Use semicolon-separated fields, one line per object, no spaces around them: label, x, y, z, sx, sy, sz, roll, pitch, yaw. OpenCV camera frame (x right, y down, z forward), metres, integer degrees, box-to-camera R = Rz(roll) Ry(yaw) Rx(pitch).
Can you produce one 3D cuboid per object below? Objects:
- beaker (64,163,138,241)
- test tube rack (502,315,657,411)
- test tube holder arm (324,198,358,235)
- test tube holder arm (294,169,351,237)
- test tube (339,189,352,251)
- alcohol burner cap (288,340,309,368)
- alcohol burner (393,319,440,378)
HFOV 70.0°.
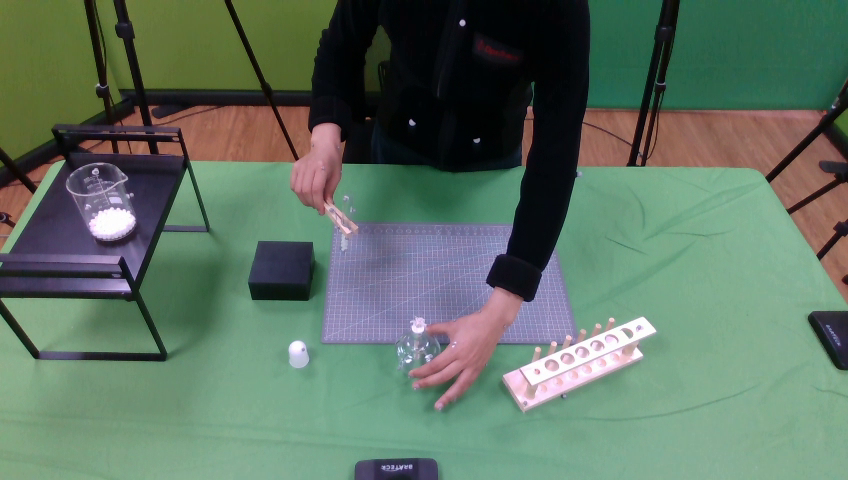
beaker;-0.477;-0.055;0.910;0.084;0.101;0.073;-9;48;-13
test tube rack;0.253;0.187;0.988;0.242;0.085;0.066;-18;50;-20
test tube holder arm;-0.144;-0.041;1.027;0.087;0.015;0.010;40;50;23
test tube holder arm;-0.177;-0.066;1.044;0.013;0.015;0.177;-24;57;-33
test tube;-0.131;-0.030;1.008;0.017;0.151;0.017;5;51;-6
alcohol burner cap;-0.207;0.183;0.991;0.034;0.048;0.033;3;47;-3
alcohol burner;-0.012;0.167;0.970;0.078;0.120;0.077;1;45;-1
